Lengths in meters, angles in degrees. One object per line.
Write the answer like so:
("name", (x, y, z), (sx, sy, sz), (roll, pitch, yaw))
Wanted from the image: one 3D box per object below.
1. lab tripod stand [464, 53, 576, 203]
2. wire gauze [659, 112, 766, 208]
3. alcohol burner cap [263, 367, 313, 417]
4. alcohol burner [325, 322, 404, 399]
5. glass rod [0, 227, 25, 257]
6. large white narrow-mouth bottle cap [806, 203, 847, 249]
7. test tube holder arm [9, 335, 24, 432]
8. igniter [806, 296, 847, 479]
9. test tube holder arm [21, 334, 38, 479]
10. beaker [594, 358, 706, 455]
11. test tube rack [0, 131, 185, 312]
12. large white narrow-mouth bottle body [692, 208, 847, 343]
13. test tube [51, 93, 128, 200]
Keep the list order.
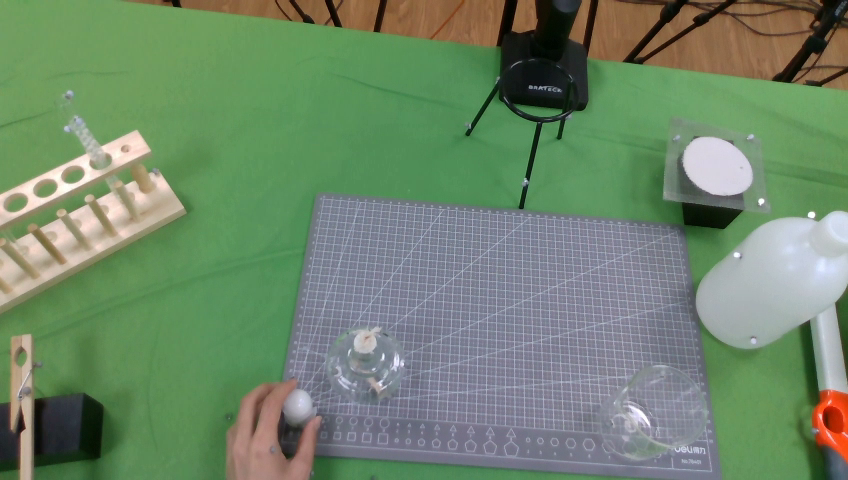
("lab tripod stand", (0.120, -0.138, 0.717), (0.148, 0.132, 0.147), (3, 63, -5))
("wire gauze", (0.346, -0.096, 0.730), (0.121, 0.011, 0.124), (12, 62, 1))
("alcohol burner cap", (-0.128, 0.149, 0.585), (0.047, 0.034, 0.034), (41, 67, 16))
("alcohol burner", (-0.057, 0.110, 0.581), (0.078, 0.120, 0.077), (3, 61, -5))
("glass rod", (-0.423, -0.042, 0.573), (0.008, 0.201, 0.008), (4, 53, -5))
("large white narrow-mouth bottle cap", (0.364, -0.012, 0.541), (0.038, 0.024, 0.037), (2, 62, -3))
("test tube holder arm", (-0.366, 0.129, 0.546), (0.010, 0.015, 0.087), (-11, 64, -20))
("igniter", (0.435, 0.167, 0.646), (0.057, 0.025, 0.274), (16, 62, -8))
("test tube holder arm", (-0.347, 0.166, 0.530), (0.013, 0.015, 0.177), (-11, 64, -20))
("beaker", (0.209, 0.164, 0.583), (0.084, 0.101, 0.073), (2, 62, -3))
("test tube rack", (-0.389, -0.013, 0.635), (0.242, 0.086, 0.066), (-33, 70, -20))
("large white narrow-mouth bottle body", (0.359, 0.029, 0.616), (0.102, 0.196, 0.101), (2, 62, -3))
("test tube", (-0.340, -0.090, 0.622), (0.017, 0.151, 0.017), (1, 56, -1))
